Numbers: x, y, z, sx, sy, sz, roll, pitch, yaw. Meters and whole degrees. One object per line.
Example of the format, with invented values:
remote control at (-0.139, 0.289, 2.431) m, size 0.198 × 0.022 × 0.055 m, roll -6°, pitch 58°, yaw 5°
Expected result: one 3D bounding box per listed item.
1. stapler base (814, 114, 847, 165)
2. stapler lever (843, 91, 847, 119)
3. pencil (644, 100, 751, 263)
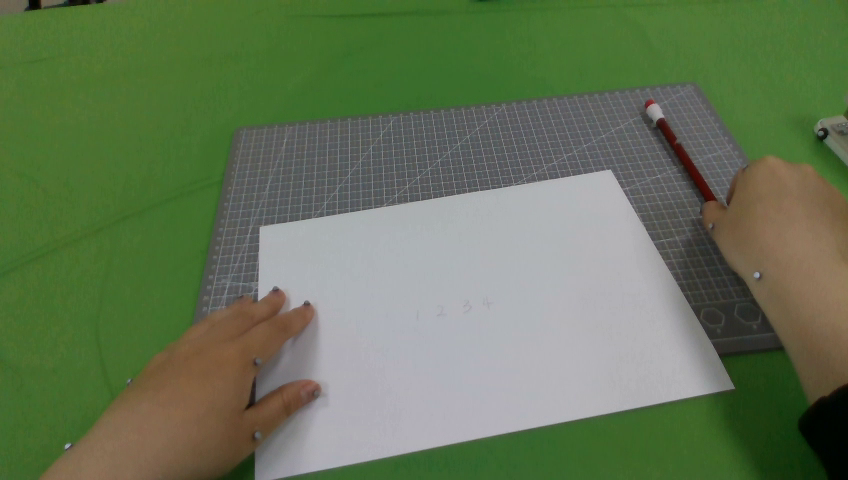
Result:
stapler base at (0.374, -0.066, 0.493) m, size 0.041 × 0.025 × 0.129 m, roll -11°, pitch 50°, yaw -2°
stapler lever at (0.373, -0.082, 0.473) m, size 0.027 × 0.040 × 0.117 m, roll -11°, pitch 50°, yaw -2°
pencil at (0.222, -0.055, 0.500) m, size 0.012 × 0.012 × 0.192 m, roll -9°, pitch 50°, yaw -3°
